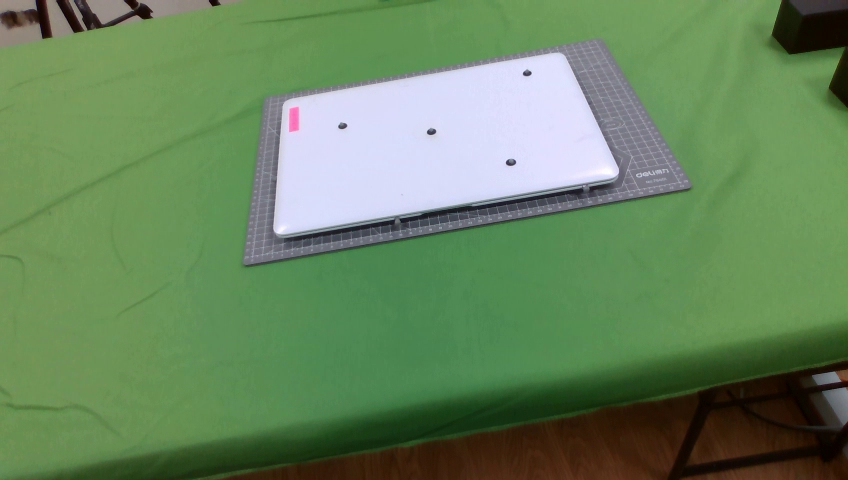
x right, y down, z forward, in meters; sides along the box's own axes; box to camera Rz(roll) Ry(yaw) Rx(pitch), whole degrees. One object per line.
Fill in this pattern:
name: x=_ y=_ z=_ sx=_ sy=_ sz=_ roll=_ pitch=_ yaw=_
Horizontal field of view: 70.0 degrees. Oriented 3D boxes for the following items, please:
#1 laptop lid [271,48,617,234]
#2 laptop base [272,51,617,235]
laptop lid: x=0.007 y=-0.121 z=0.672 sx=0.357 sy=0.013 sz=0.239 roll=-9 pitch=49 yaw=2
laptop base: x=0.009 y=-0.115 z=0.682 sx=0.354 sy=0.023 sz=0.233 roll=-10 pitch=50 yaw=1
